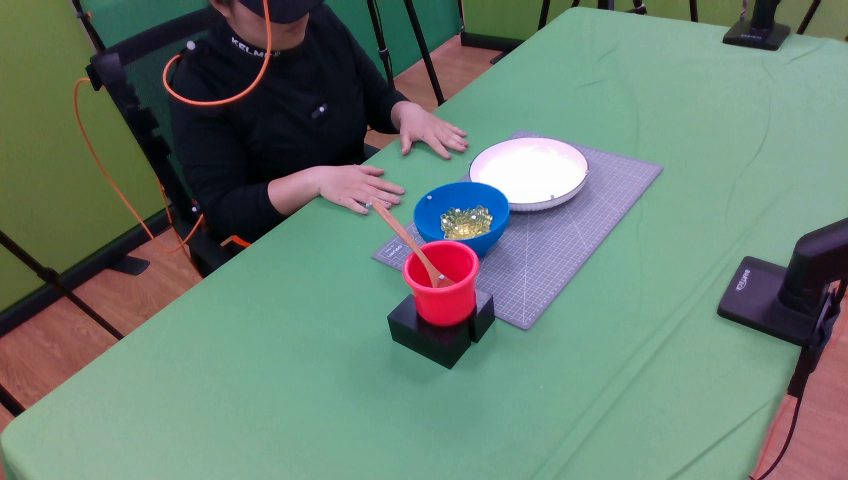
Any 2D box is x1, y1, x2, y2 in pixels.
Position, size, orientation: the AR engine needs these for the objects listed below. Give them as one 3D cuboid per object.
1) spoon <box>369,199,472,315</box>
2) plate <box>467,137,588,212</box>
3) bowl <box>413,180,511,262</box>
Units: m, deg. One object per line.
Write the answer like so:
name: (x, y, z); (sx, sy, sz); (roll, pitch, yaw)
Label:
spoon: (-0.006, 0.020, 0.787); (0.042, 0.021, 0.194); (-39, 92, -28)
plate: (0.181, -0.112, 1.064); (0.207, 0.039, 0.206); (-5, 40, 5)
bowl: (0.062, -0.019, 0.945); (0.151, 0.077, 0.150); (-5, 40, 5)
